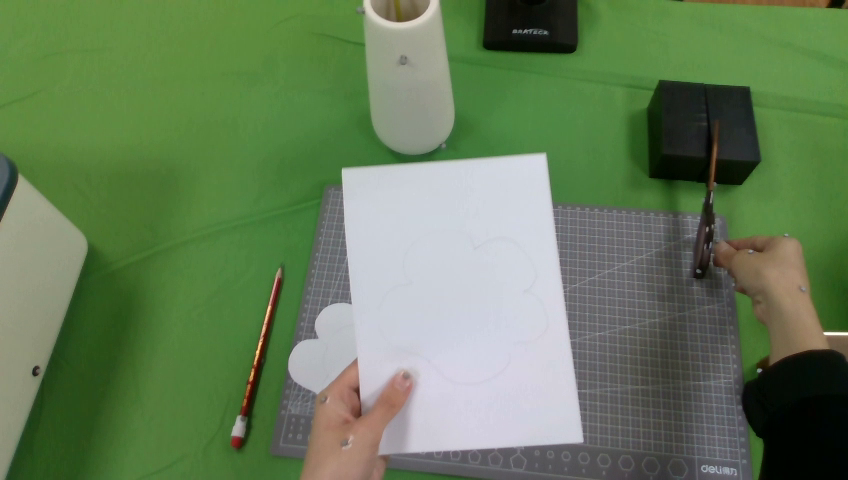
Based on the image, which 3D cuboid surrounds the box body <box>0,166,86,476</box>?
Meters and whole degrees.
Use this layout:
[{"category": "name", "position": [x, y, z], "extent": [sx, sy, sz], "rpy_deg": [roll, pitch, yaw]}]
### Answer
[{"category": "box body", "position": [-0.507, 0.100, 0.549], "extent": [0.254, 0.161, 0.361], "rpy_deg": [5, 66, 4]}]

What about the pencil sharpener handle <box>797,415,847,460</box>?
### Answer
[{"category": "pencil sharpener handle", "position": [0.345, 0.167, 0.510], "extent": [0.036, 0.068, 0.030], "rpy_deg": [6, 66, -10]}]

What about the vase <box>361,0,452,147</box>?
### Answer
[{"category": "vase", "position": [-0.019, -0.186, 0.642], "extent": [0.098, 0.201, 0.097], "rpy_deg": [-1, 64, 3]}]

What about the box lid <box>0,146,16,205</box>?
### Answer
[{"category": "box lid", "position": [-0.510, 0.067, 0.481], "extent": [0.263, 0.015, 0.368], "rpy_deg": [5, 66, 4]}]

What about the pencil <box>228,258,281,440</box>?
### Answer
[{"category": "pencil", "position": [-0.170, 0.105, 0.622], "extent": [0.012, 0.012, 0.192], "rpy_deg": [6, 64, 5]}]

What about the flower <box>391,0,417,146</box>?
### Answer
[{"category": "flower", "position": [-0.028, -0.233, 0.572], "extent": [0.044, 0.365, 0.038], "rpy_deg": [-2, 48, 5]}]

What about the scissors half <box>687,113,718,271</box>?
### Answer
[{"category": "scissors half", "position": [0.296, -0.052, 0.639], "extent": [0.012, 0.040, 0.175], "rpy_deg": [10, 84, 21]}]

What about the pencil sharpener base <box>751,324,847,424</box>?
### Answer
[{"category": "pencil sharpener base", "position": [0.350, 0.126, 0.541], "extent": [0.061, 0.108, 0.076], "rpy_deg": [1, 66, 2]}]

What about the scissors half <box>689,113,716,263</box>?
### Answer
[{"category": "scissors half", "position": [0.290, -0.058, 0.620], "extent": [0.013, 0.040, 0.174], "rpy_deg": [11, 67, 16]}]
